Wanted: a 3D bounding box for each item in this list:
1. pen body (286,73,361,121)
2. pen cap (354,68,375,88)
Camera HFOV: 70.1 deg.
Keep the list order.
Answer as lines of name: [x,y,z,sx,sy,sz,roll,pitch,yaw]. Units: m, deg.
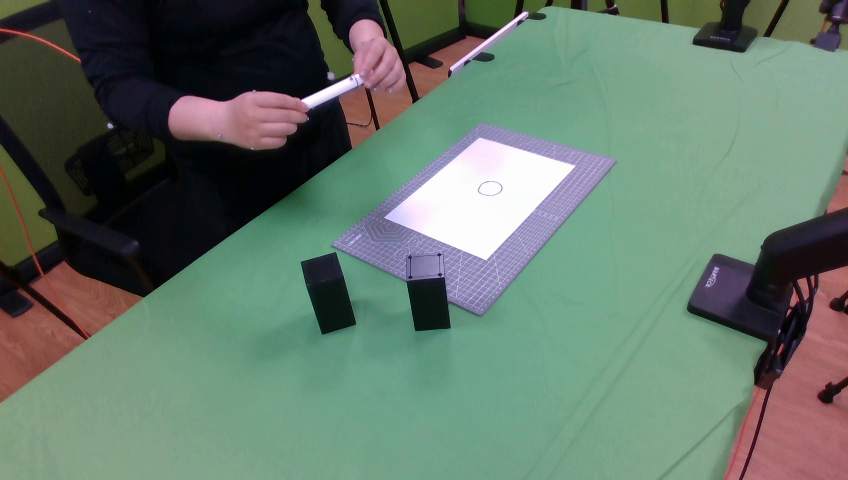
pen body: [-0.143,-0.217,0.900,0.144,0.017,0.017,-36,47,-23]
pen cap: [-0.093,-0.248,0.925,0.038,0.017,0.017,-38,48,-17]
